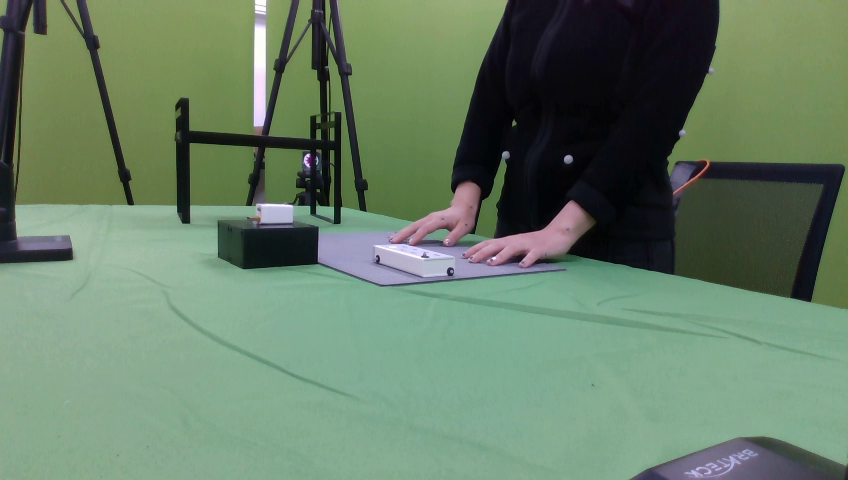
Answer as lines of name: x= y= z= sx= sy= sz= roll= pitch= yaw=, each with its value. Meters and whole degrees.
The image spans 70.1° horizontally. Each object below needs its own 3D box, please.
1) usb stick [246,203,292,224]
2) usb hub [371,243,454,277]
usb stick: x=-0.207 y=-0.035 z=0.802 sx=0.059 sy=0.027 sz=0.021 roll=-6 pitch=14 yaw=-36
usb hub: x=-0.018 y=0.024 z=0.777 sx=0.050 sy=0.025 sz=0.124 roll=-3 pitch=9 yaw=-34
